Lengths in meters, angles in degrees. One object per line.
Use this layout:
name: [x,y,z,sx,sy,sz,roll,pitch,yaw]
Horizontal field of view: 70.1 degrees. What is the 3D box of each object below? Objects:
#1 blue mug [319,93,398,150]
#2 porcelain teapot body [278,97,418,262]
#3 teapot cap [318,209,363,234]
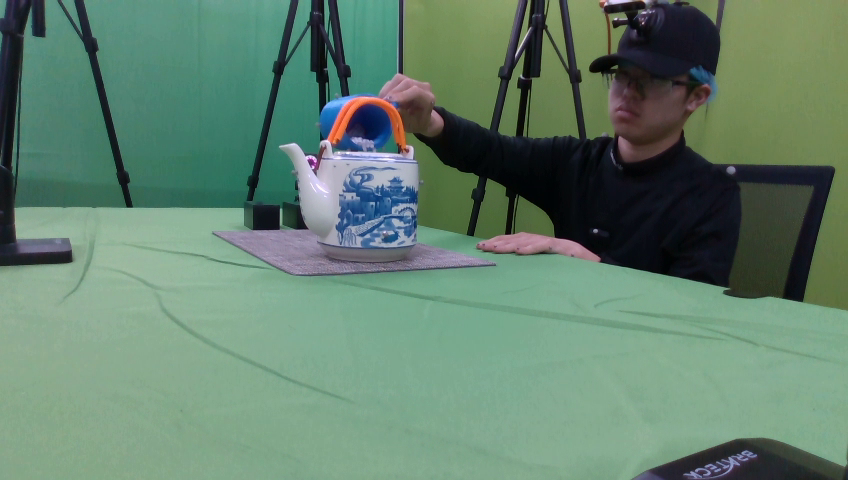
blue mug: [-0.093,-0.188,0.927,0.117,0.082,0.105,-34,22,-19]
porcelain teapot body: [-0.103,-0.086,0.842,0.206,0.225,0.144,-4,9,-38]
teapot cap: [-0.158,-0.036,1.144,0.085,0.044,0.085,0,6,0]
